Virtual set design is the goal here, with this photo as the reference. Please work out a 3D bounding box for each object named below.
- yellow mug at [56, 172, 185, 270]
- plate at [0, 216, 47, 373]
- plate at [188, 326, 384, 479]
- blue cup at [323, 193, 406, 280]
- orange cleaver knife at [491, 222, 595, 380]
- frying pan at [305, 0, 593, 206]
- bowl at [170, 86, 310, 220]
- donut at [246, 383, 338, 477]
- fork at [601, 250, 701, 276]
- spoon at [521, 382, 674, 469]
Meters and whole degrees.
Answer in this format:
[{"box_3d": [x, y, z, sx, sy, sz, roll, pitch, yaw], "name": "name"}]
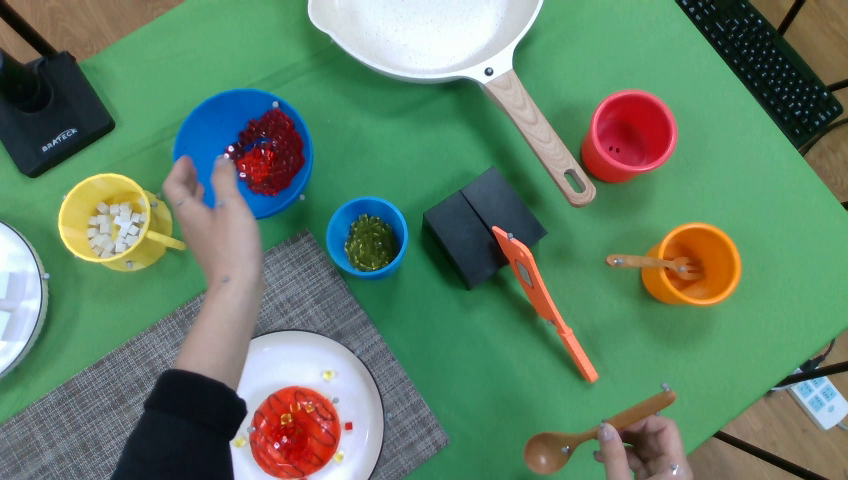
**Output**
[{"box_3d": [-0.333, -0.015, 0.685, 0.131, 0.064, 0.099, 19, 79, 1], "name": "yellow mug"}, {"box_3d": [-0.524, 0.067, 0.678, 0.208, 0.039, 0.207, 0, 80, -2], "name": "plate"}, {"box_3d": [-0.148, 0.199, 0.662, 0.209, 0.038, 0.208, 0, 80, -2], "name": "plate"}, {"box_3d": [-0.062, 0.005, 0.671, 0.093, 0.100, 0.092, 0, 76, -1], "name": "blue cup"}, {"box_3d": [0.132, 0.069, 0.676, 0.012, 0.076, 0.213, -35, 111, -7], "name": "orange cleaver knife"}, {"box_3d": [0.049, -0.239, 0.717, 0.307, 0.103, 0.484, -29, 74, -6], "name": "frying pan"}, {"box_3d": [-0.201, -0.090, 0.696, 0.151, 0.077, 0.151, 0, 80, -2], "name": "bowl"}, {"box_3d": [-0.141, 0.203, 0.650, 0.099, 0.048, 0.099, 0, 83, -3], "name": "donut"}, {"box_3d": [0.250, 0.022, 0.654, 0.209, 0.018, 0.028, 6, 78, -45], "name": "fork"}, {"box_3d": [0.157, 0.175, 0.567, 0.022, 0.194, 0.041, -19, 71, -40], "name": "spoon"}]
